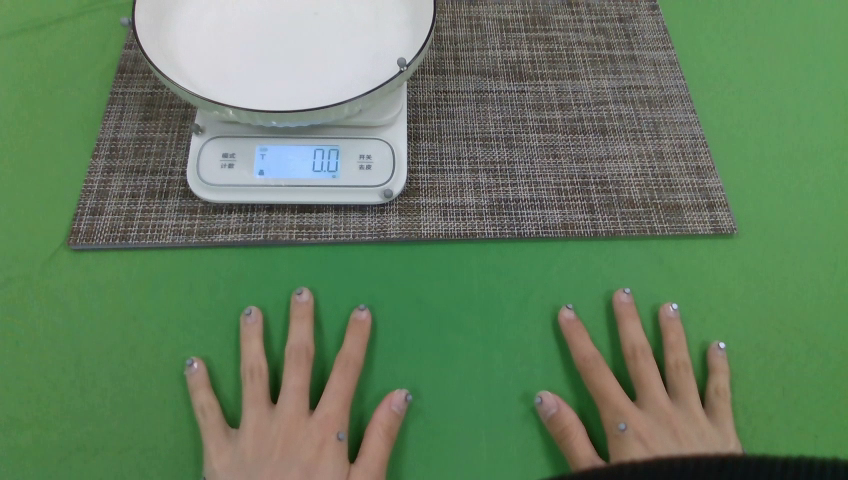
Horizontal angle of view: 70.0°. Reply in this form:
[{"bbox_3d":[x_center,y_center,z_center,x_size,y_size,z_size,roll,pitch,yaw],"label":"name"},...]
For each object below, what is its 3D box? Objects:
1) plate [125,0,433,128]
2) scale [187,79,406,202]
[{"bbox_3d":[-0.097,-0.157,0.433,0.208,0.039,0.206,2,60,-3],"label":"plate"},{"bbox_3d":[-0.088,-0.117,0.449,0.149,0.032,0.199,0,61,-3],"label":"scale"}]
